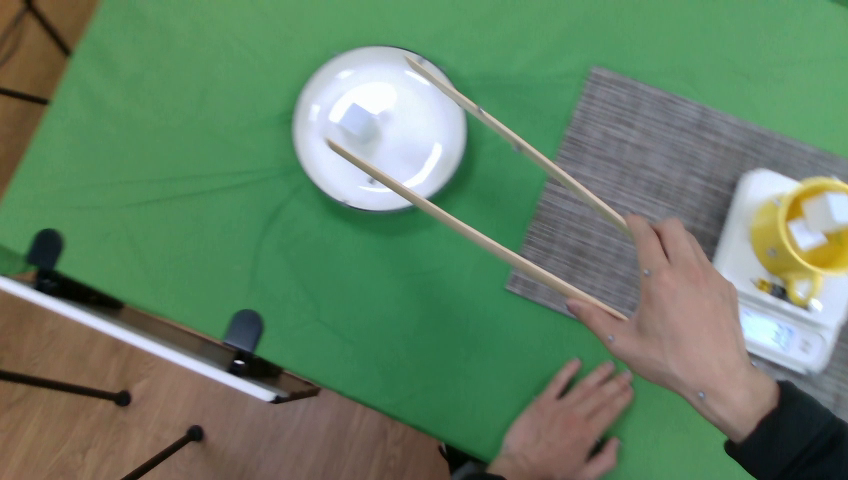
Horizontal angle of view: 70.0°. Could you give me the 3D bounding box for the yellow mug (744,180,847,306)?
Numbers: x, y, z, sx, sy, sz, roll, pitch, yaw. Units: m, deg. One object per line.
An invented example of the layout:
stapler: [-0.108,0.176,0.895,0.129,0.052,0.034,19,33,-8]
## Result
yellow mug: [0.407,0.007,0.649,0.100,0.064,0.130,12,82,3]

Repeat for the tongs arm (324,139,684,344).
tongs arm: [0.048,-0.010,0.554,0.384,0.028,0.028,32,74,25]

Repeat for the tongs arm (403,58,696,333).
tongs arm: [0.093,-0.059,0.561,0.051,0.027,0.381,-45,63,-7]

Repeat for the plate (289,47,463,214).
plate: [-0.057,-0.130,0.738,0.207,0.039,0.207,0,81,2]

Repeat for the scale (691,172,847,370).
scale: [0.406,0.033,0.692,0.148,0.031,0.200,22,82,6]
